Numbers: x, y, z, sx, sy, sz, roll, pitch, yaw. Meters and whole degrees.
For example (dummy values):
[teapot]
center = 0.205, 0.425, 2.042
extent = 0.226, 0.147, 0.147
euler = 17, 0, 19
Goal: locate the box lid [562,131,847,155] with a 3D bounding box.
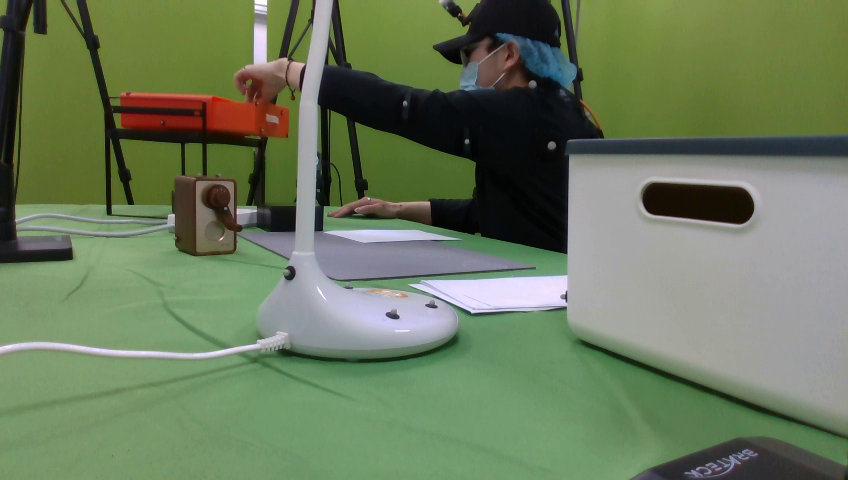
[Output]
[box lid]
center = 0.322, -0.064, 0.463
extent = 0.373, 0.015, 0.262
euler = -2, 9, -31

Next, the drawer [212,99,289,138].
[drawer]
center = -0.437, -0.274, 1.366
extent = 0.211, 0.073, 0.194
euler = 3, 8, 8

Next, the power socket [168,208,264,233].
[power socket]
center = -0.382, -0.038, 1.129
extent = 0.072, 0.032, 0.227
euler = 4, 8, 17

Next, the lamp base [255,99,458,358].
[lamp base]
center = -0.056, -0.013, 0.463
extent = 0.160, 0.180, 0.180
euler = 6, 11, 27

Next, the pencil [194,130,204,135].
[pencil]
center = -0.427, -0.253, 1.351
extent = 0.012, 0.012, 0.195
euler = 8, 20, 37

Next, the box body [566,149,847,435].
[box body]
center = 0.317, 0.009, 0.472
extent = 0.366, 0.160, 0.253
euler = -2, 8, -31

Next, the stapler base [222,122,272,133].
[stapler base]
center = -0.391, -0.252, 1.349
extent = 0.041, 0.024, 0.131
euler = 5, 13, 24

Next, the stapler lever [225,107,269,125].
[stapler lever]
center = -0.390, -0.276, 1.342
extent = 0.027, 0.040, 0.118
euler = 5, 12, 24

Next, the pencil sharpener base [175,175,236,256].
[pencil sharpener base]
center = -0.305, -0.036, 0.847
extent = 0.062, 0.107, 0.076
euler = -4, 10, -42

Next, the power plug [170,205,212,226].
[power plug]
center = -0.455, -0.040, 1.196
extent = 0.052, 0.035, 0.072
euler = 1, 43, 24

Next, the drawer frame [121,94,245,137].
[drawer frame]
center = -0.529, -0.281, 1.376
extent = 0.213, 0.082, 0.202
euler = 3, 8, 7

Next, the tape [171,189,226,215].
[tape]
center = -0.516, -0.087, 1.388
extent = 0.117, 0.052, 0.117
euler = 3, 8, 0

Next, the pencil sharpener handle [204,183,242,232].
[pencil sharpener handle]
center = -0.265, -0.043, 0.813
extent = 0.036, 0.068, 0.030
euler = -32, 28, -35
